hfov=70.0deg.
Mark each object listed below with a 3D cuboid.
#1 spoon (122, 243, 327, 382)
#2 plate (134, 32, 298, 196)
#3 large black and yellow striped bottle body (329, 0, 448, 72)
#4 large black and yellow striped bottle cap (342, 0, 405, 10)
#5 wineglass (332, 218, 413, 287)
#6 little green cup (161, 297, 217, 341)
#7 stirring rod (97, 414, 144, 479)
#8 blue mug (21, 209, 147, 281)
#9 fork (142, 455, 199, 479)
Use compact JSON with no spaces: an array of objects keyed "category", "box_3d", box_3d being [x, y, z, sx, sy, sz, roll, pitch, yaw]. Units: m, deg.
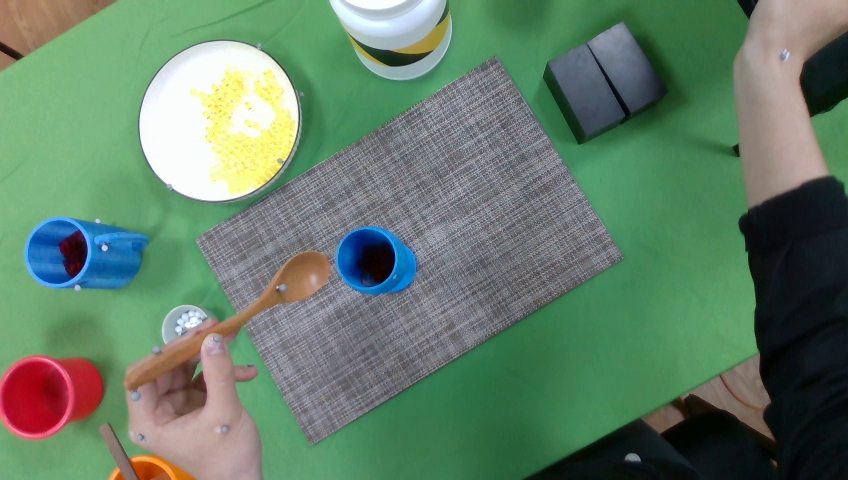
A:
[{"category":"spoon","box_3d":[-0.138,0.050,0.455,0.021,0.193,0.042,9,116,26]},{"category":"plate","box_3d":[-0.260,-0.157,0.770,0.209,0.038,0.208,0,87,4]},{"category":"large black and yellow striped bottle body","box_3d":[-0.041,-0.283,0.688,0.131,0.184,0.130,0,86,5]},{"category":"large black and yellow striped bottle cap","box_3d":[-0.049,-0.289,0.605,0.115,0.019,0.114,0,86,4]},{"category":"wineglass","box_3d":[-0.052,0.017,0.673,0.073,0.172,0.073,0,86,5]},{"category":"little green cup","box_3d":[-0.291,0.102,0.757,0.061,0.039,0.061,0,87,4]},{"category":"stirring rod","box_3d":[-0.327,0.278,0.692,0.014,0.006,0.175,-32,85,2]},{"category":"blue mug","box_3d":[-0.399,0.004,0.737,0.116,0.106,0.082,-18,85,3]},{"category":"fork","box_3d":[-0.365,0.297,0.696,0.208,0.018,0.028,-13,90,-40]}]
